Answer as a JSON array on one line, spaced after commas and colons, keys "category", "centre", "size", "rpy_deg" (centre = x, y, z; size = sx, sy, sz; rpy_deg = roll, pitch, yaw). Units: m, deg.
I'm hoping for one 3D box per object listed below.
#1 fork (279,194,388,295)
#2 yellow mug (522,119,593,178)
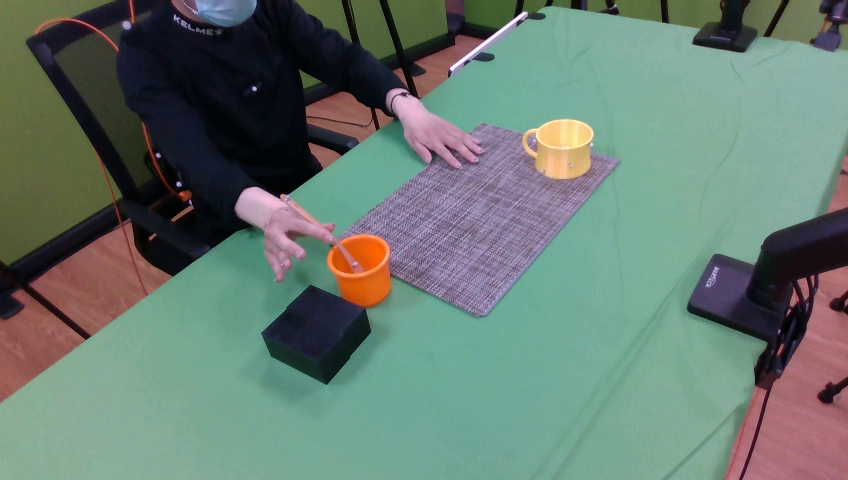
[{"category": "fork", "centre": [-0.131, 0.007, 0.874], "size": [0.018, 0.208, 0.028], "rpy_deg": [-36, 13, 37]}, {"category": "yellow mug", "centre": [0.237, -0.170, 1.092], "size": [0.130, 0.064, 0.100], "rpy_deg": [17, 47, 27]}]
